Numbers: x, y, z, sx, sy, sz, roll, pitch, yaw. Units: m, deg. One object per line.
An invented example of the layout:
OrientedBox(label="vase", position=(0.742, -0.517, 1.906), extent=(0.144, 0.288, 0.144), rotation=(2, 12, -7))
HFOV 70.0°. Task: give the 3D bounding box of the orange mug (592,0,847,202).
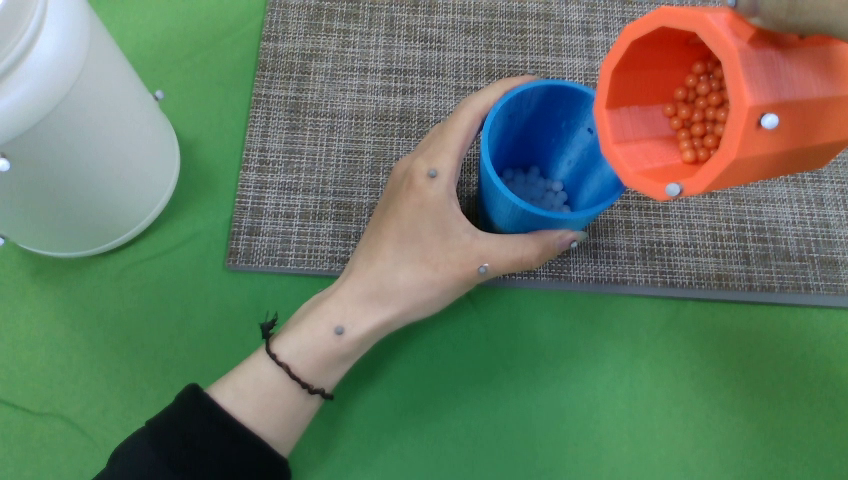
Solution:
OrientedBox(label="orange mug", position=(0.152, -0.078, 0.282), extent=(0.101, 0.127, 0.082), rotation=(-15, 61, -23))

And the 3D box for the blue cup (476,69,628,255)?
OrientedBox(label="blue cup", position=(0.070, -0.034, 0.371), extent=(0.093, 0.101, 0.092), rotation=(1, 70, -4))

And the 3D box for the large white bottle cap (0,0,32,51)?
OrientedBox(label="large white bottle cap", position=(-0.229, -0.109, 0.257), extent=(0.115, 0.018, 0.114), rotation=(1, 69, -2))

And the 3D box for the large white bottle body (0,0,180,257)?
OrientedBox(label="large white bottle body", position=(-0.230, -0.078, 0.336), extent=(0.131, 0.185, 0.129), rotation=(1, 70, -2))
